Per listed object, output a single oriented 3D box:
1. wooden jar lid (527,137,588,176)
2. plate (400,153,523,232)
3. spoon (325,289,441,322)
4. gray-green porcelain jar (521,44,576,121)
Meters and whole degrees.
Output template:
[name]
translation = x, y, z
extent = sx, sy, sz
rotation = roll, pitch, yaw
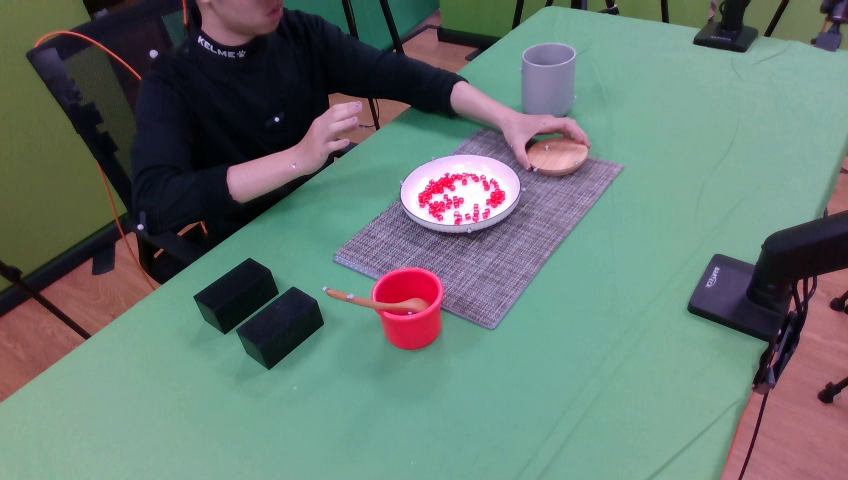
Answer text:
[wooden jar lid]
translation = 0.243, -0.151, 1.101
extent = 0.108, 0.021, 0.108
rotation = -7, 42, 7
[plate]
translation = 0.065, -0.078, 1.034
extent = 0.207, 0.039, 0.206
rotation = -4, 41, 4
[spoon]
translation = -0.047, 0.084, 0.776
extent = 0.195, 0.021, 0.041
rotation = 12, 26, -42
[gray-green porcelain jar]
translation = 0.249, -0.313, 1.219
extent = 0.106, 0.127, 0.105
rotation = -4, 41, 4
